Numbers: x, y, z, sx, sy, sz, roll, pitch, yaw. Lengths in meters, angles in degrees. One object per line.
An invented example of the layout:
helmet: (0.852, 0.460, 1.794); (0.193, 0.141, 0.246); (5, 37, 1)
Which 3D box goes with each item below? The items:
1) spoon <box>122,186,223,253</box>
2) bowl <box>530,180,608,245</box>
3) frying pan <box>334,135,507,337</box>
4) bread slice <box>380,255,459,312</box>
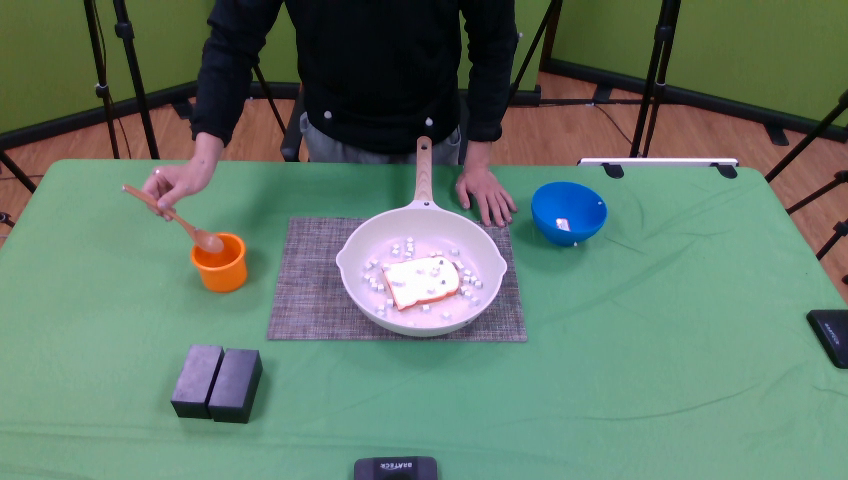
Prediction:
spoon: (-0.420, -0.035, 1.022); (0.021, 0.195, 0.041); (-25, 42, 23)
bowl: (0.284, -0.044, 1.222); (0.151, 0.077, 0.150); (2, 46, -2)
frying pan: (-0.004, -0.026, 1.160); (0.307, 0.103, 0.485); (4, 55, -2)
bread slice: (-0.005, 0.075, 1.119); (0.134, 0.018, 0.106); (-16, 50, -16)
